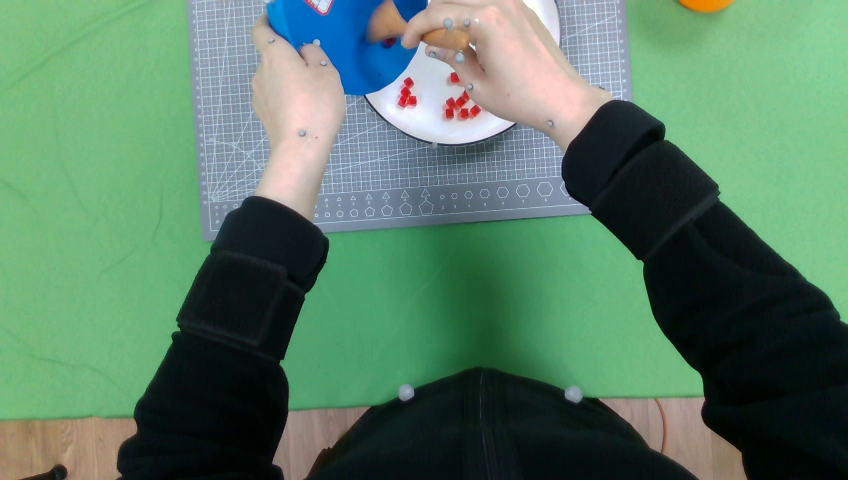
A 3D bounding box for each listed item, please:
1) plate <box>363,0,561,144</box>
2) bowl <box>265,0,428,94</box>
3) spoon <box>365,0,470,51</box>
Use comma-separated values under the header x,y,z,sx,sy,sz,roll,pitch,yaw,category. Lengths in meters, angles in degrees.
x,y,z,sx,sy,sz,roll,pitch,yaw,category
0.030,-0.198,0.602,0.209,0.038,0.209,0,90,4,plate
-0.077,-0.204,0.505,0.076,0.153,0.151,25,91,40,bowl
-0.008,-0.159,0.455,0.022,0.191,0.041,24,100,-34,spoon
